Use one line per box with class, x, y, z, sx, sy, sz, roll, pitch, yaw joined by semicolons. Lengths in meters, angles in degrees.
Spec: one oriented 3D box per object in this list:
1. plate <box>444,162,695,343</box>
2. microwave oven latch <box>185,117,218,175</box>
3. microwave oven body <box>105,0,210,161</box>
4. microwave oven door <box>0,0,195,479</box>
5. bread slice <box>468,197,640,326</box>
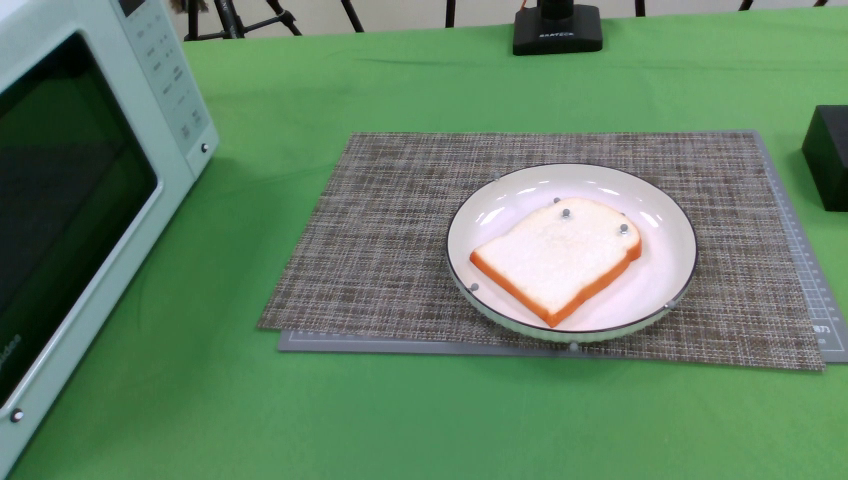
plate;0.122;0.008;0.527;0.209;0.038;0.207;-5;43;5
microwave oven latch;-0.264;-0.108;0.696;0.030;0.030;0.078;2;45;11
microwave oven body;-0.447;-0.056;0.532;0.325;0.263;0.438;1;45;10
microwave oven door;-0.309;-0.030;0.472;0.039;0.246;0.352;0;44;11
bread slice;0.119;0.007;0.530;0.131;0.019;0.104;-32;48;-23
